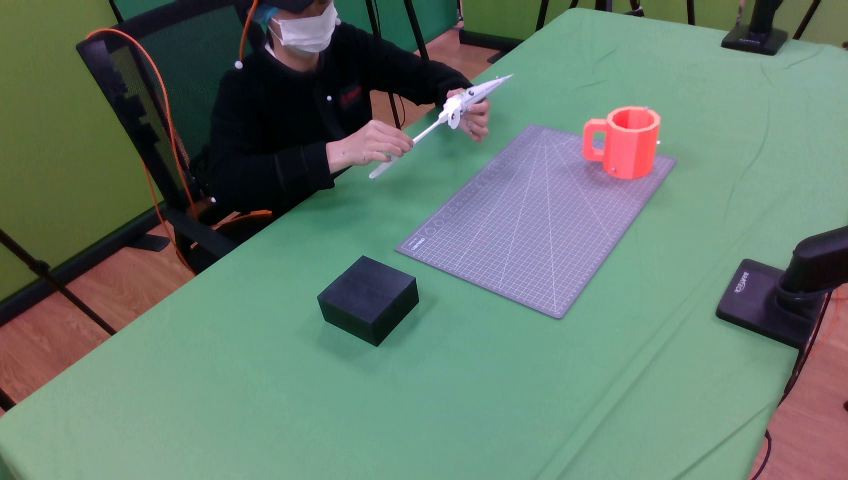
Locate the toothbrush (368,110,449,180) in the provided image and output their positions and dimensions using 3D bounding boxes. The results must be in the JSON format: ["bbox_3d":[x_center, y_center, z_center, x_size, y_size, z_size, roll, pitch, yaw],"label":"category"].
[{"bbox_3d":[-0.027,-0.161,1.033,0.181,0.014,0.016,-37,41,15],"label":"toothbrush"}]

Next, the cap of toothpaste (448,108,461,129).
[{"bbox_3d":[0.049,-0.203,1.006,0.011,0.037,0.037,16,45,25],"label":"cap of toothpaste"}]

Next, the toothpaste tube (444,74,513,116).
[{"bbox_3d":[0.092,-0.257,1.067,0.054,0.034,0.165,3,34,47],"label":"toothpaste tube"}]

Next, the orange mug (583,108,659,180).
[{"bbox_3d":[0.343,-0.171,1.061,0.126,0.101,0.083,10,43,15],"label":"orange mug"}]
